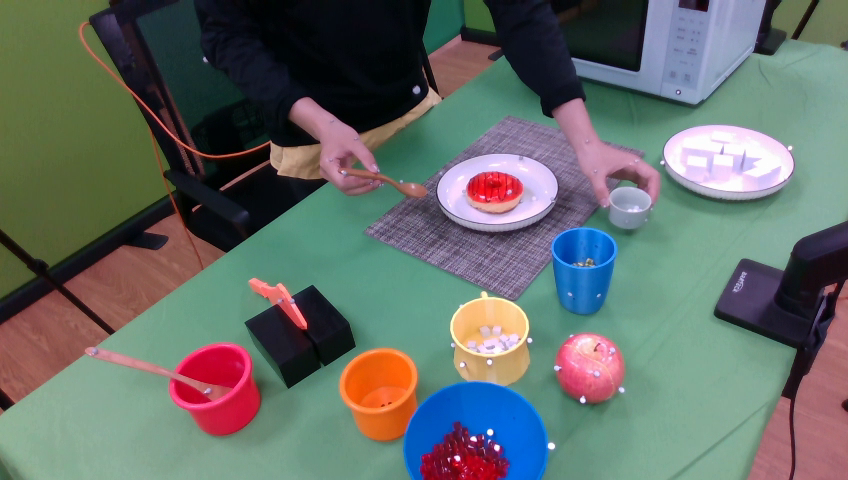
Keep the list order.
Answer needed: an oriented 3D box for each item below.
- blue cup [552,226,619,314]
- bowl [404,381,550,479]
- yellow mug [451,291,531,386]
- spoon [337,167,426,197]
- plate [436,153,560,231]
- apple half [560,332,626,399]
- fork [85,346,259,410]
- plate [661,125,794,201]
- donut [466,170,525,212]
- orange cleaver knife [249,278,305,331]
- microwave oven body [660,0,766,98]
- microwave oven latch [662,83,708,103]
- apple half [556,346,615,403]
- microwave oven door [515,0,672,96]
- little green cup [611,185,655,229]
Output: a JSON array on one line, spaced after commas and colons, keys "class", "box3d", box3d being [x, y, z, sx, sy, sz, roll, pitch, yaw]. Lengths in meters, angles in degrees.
[{"class": "blue cup", "box3d": [0.218, 0.047, 0.825, 0.092, 0.101, 0.092, -6, 39, 5]}, {"class": "bowl", "box3d": [0.058, 0.235, 0.645, 0.151, 0.077, 0.150, -4, 39, 4]}, {"class": "yellow mug", "box3d": [0.086, 0.120, 0.786, 0.100, 0.064, 0.130, -7, 39, 1]}, {"class": "spoon", "box3d": [-0.061, -0.091, 0.912, 0.041, 0.021, 0.195, 44, 18, 32]}, {"class": "plate", "box3d": [0.125, -0.078, 1.029, 0.209, 0.038, 0.208, -4, 40, 4]}, {"class": "apple half", "box3d": [0.209, 0.147, 0.730, 0.080, 0.075, 0.053, 26, 48, 38]}, {"class": "fork", "box3d": [-0.298, 0.166, 0.728, 0.209, 0.018, 0.028, 28, 46, -23]}, {"class": "plate", "box3d": [0.514, -0.128, 1.035, 0.207, 0.039, 0.206, -4, 40, 4]}, {"class": "donut", "box3d": [0.121, -0.083, 1.019, 0.099, 0.048, 0.098, -4, 39, 3]}, {"class": "orange cleaver knife", "box3d": [-0.210, 0.089, 0.855, 0.012, 0.077, 0.210, -28, 15, -25]}, {"class": "microwave oven body", "box3d": [0.473, -0.513, 1.317, 0.438, 0.261, 0.327, 26, 51, 34]}, {"class": "microwave oven latch", "box3d": [0.518, -0.297, 1.204, 0.078, 0.029, 0.030, 29, 53, 36]}, {"class": "apple half", "box3d": [0.181, 0.167, 0.709, 0.080, 0.081, 0.033, 29, 50, 35]}, {"class": "microwave oven door", "box3d": [0.344, -0.455, 1.260, 0.353, 0.245, 0.039, 26, 51, 33]}, {"class": "little green cup", "box3d": [0.315, -0.049, 0.921, 0.061, 0.039, 0.061, 2, 53, -3]}]
